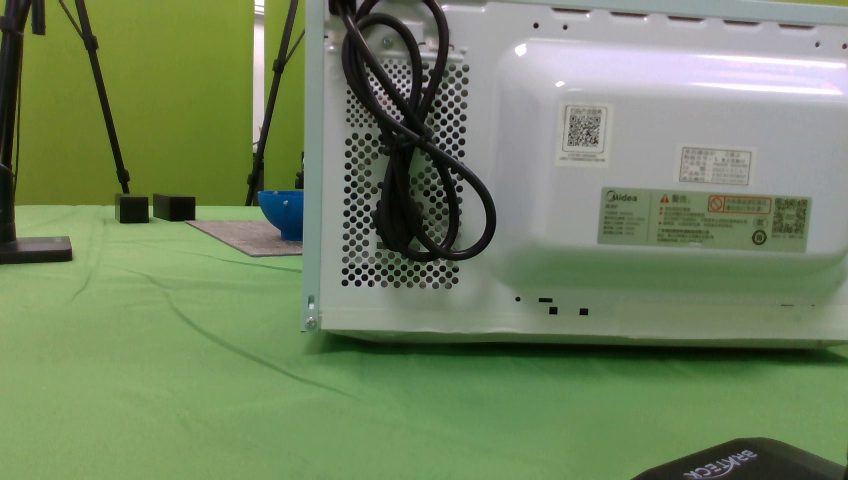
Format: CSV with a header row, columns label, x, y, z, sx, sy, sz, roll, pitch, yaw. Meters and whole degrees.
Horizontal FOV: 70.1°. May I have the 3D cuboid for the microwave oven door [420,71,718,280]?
label,x,y,z,sx,sy,sz,roll,pitch,yaw
microwave oven door,0.169,-0.087,0.771,0.355,0.243,0.039,5,7,21

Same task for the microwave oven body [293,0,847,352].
label,x,y,z,sx,sy,sz,roll,pitch,yaw
microwave oven body,0.122,-0.055,0.550,0.442,0.260,0.325,3,7,-5

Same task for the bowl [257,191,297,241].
label,x,y,z,sx,sy,sz,roll,pitch,yaw
bowl,-0.206,-0.041,1.027,0.151,0.077,0.151,3,8,0

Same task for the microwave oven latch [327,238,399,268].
label,x,y,z,sx,sy,sz,roll,pitch,yaw
microwave oven latch,-0.069,0.015,0.694,0.079,0.029,0.030,3,7,-2
